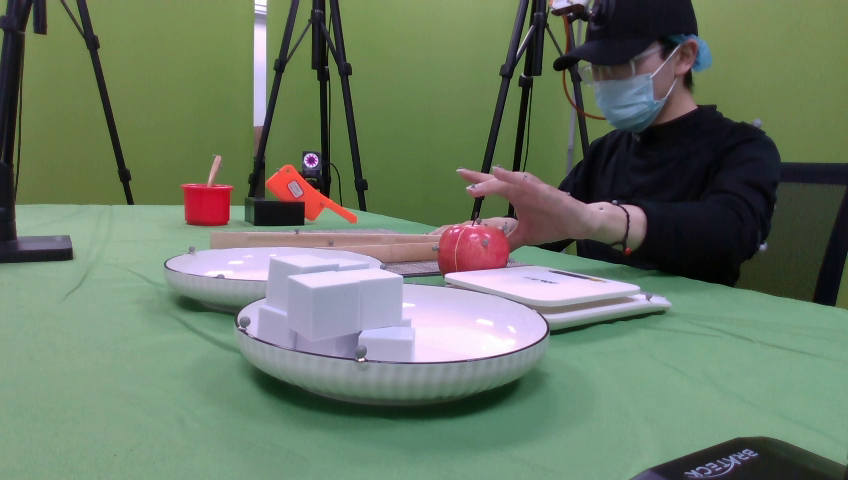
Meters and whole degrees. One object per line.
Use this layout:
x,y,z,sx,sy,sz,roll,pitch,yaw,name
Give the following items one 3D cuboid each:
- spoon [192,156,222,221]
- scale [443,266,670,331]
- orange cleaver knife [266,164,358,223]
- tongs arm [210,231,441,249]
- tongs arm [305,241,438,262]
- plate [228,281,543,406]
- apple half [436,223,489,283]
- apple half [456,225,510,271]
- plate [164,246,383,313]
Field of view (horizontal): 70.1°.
-0.430,-0.108,1.222,0.041,0.021,0.193,-1,52,0,spoon
0.131,0.052,0.602,0.202,0.031,0.148,-2,9,-37,scale
-0.237,-0.082,1.295,0.212,0.077,0.012,35,-8,-26,orange cleaver knife
-0.105,0.004,0.876,0.386,0.026,0.050,0,6,-20,tongs arm
-0.070,0.017,0.800,0.390,0.028,0.028,-2,4,-34,tongs arm
-0.025,0.067,0.413,0.208,0.039,0.207,3,7,0,plate
0.045,0.017,0.691,0.081,0.074,0.053,-9,10,-41,apple half
0.072,0.021,0.662,0.082,0.081,0.032,-4,7,-42,apple half
-0.145,0.038,0.600,0.209,0.038,0.209,2,7,0,plate
